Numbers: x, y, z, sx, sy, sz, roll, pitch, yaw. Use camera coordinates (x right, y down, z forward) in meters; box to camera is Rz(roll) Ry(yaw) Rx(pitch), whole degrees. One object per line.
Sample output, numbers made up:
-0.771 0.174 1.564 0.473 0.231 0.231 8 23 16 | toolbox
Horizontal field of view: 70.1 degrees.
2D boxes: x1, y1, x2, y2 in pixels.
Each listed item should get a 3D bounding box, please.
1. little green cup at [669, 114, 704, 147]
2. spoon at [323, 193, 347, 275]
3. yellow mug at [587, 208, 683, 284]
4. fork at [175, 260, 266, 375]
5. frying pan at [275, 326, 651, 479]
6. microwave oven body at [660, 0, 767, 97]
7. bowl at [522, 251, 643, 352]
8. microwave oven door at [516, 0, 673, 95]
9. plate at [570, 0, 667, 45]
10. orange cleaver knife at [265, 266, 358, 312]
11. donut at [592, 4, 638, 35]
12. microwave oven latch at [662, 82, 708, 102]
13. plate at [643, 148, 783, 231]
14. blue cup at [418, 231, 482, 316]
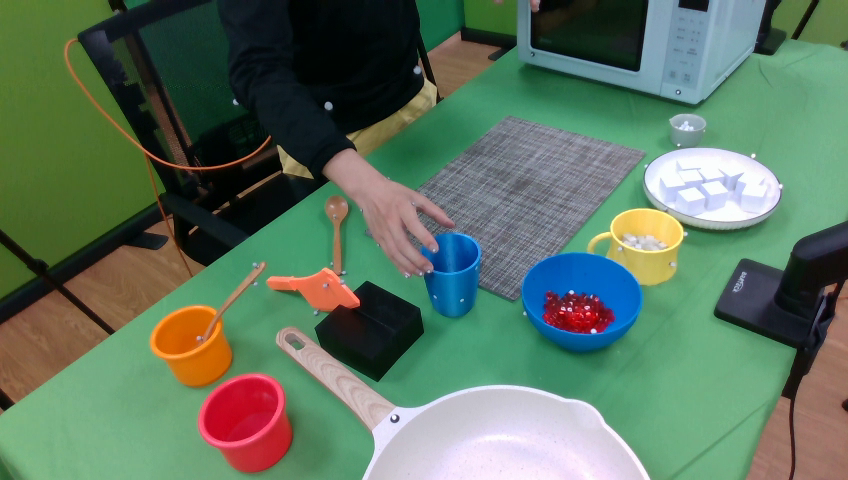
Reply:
0.485 -0.203 1.123 0.061 0.039 0.061 -5 40 5 | little green cup
-0.148 -0.014 1.008 0.042 0.022 0.192 1 40 -9 | spoon
0.305 0.009 0.884 0.131 0.064 0.099 -4 41 5 | yellow mug
-0.268 0.103 0.792 0.207 0.019 0.028 -51 40 16 | fork
0.004 0.229 0.641 0.484 0.103 0.308 34 54 28 | frying pan
0.473 -0.516 1.313 0.438 0.261 0.327 26 51 34 | microwave oven body
0.204 0.093 0.792 0.151 0.077 0.150 -4 40 4 | bowl
0.344 -0.458 1.256 0.353 0.245 0.039 26 51 33 | microwave oven door
0.436 -0.489 1.368 0.209 0.038 0.208 -5 40 5 | plate
-0.164 0.073 0.864 0.210 0.077 0.012 -6 30 50 | orange cleaver knife
0.428 -0.492 1.352 0.099 0.048 0.098 -6 41 6 | donut
0.518 -0.299 1.203 0.078 0.029 0.030 29 53 36 | microwave oven latch
0.464 -0.080 0.986 0.207 0.039 0.206 -4 41 4 | plate
0.040 0.052 0.843 0.092 0.100 0.092 -4 43 4 | blue cup
